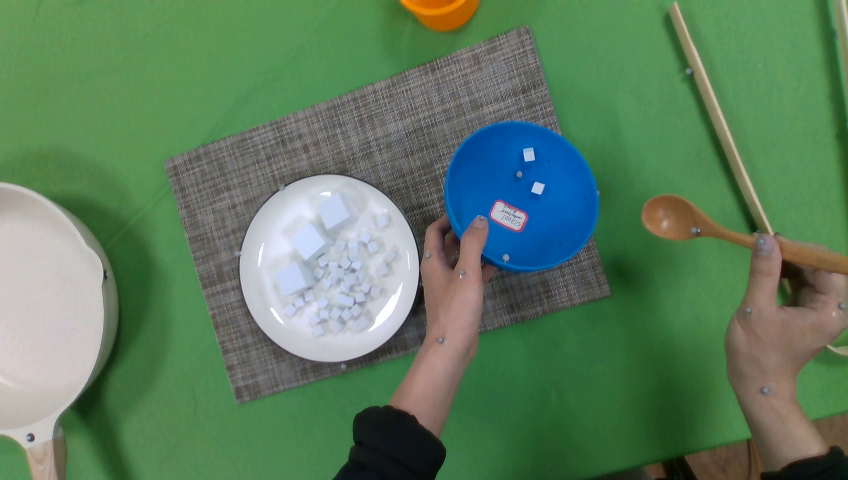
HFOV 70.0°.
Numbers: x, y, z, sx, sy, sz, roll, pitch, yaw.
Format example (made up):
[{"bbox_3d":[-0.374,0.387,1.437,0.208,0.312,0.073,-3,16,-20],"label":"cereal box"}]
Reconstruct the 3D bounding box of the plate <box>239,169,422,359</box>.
[{"bbox_3d":[-0.101,0.027,0.675,0.207,0.039,0.207,0,92,10],"label":"plate"}]

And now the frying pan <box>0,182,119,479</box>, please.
[{"bbox_3d":[-0.463,0.175,0.711,0.306,0.103,0.485,-20,80,10],"label":"frying pan"}]

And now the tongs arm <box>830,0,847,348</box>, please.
[{"bbox_3d":[0.403,-0.086,0.590,0.050,0.026,0.384,-11,91,11],"label":"tongs arm"}]

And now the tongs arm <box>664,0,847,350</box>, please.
[{"bbox_3d":[0.327,-0.064,0.608,0.028,0.028,0.387,-24,88,7],"label":"tongs arm"}]

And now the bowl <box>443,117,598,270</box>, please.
[{"bbox_3d":[0.086,-0.035,0.599,0.152,0.077,0.150,3,73,-9],"label":"bowl"}]

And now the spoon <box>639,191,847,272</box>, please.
[{"bbox_3d":[0.250,-0.004,0.480,0.022,0.192,0.042,-13,111,-23],"label":"spoon"}]
